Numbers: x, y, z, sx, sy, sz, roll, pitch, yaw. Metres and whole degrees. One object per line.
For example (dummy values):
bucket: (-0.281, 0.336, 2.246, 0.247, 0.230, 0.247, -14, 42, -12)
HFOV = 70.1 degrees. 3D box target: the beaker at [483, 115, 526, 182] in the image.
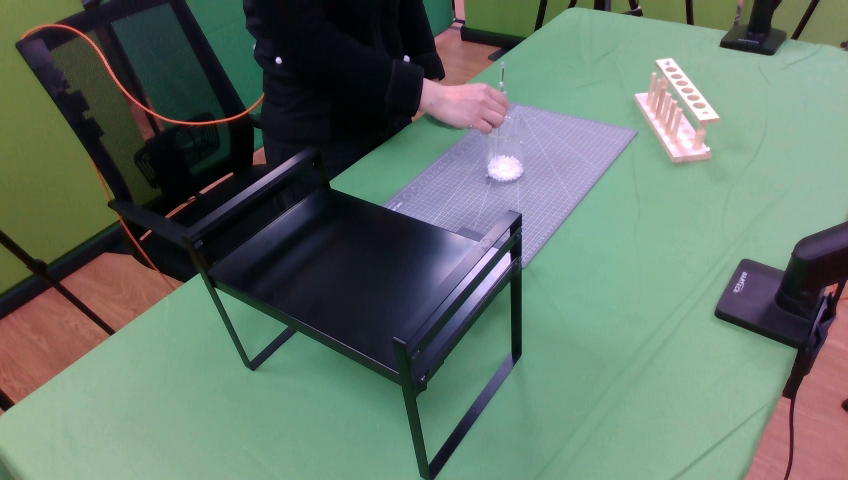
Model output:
beaker: (0.147, -0.162, 1.080, 0.073, 0.101, 0.084, 13, 44, 22)

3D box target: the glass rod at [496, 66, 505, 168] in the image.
glass rod: (0.131, -0.204, 1.035, 0.008, 0.200, 0.008, -2, 42, 2)

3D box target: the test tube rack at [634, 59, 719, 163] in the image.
test tube rack: (0.471, -0.250, 1.148, 0.067, 0.085, 0.241, -6, 40, 3)
